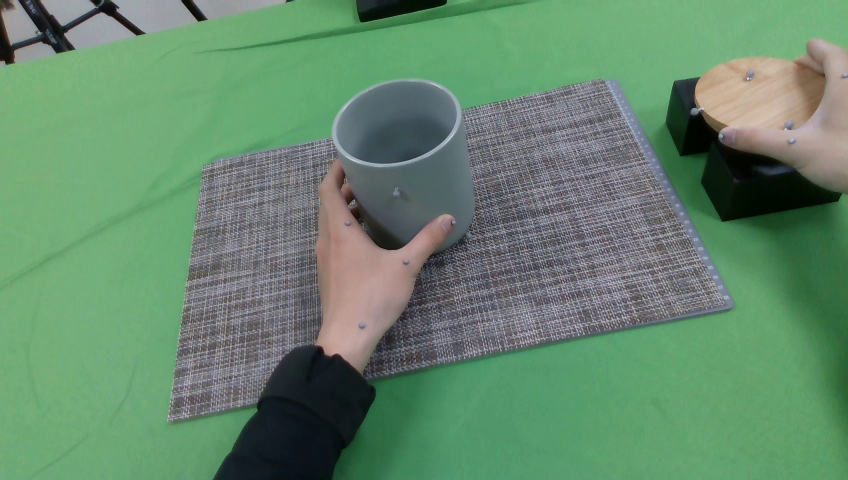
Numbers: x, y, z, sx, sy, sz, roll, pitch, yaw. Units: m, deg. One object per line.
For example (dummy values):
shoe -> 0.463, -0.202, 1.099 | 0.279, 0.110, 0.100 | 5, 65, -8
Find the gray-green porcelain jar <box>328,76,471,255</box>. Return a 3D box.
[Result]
gray-green porcelain jar -> -0.015, -0.057, 0.522 | 0.106, 0.128, 0.105 | -6, 51, 7

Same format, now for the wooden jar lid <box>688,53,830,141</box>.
wooden jar lid -> 0.284, -0.122, 0.520 | 0.108, 0.021, 0.107 | -7, 50, 8
